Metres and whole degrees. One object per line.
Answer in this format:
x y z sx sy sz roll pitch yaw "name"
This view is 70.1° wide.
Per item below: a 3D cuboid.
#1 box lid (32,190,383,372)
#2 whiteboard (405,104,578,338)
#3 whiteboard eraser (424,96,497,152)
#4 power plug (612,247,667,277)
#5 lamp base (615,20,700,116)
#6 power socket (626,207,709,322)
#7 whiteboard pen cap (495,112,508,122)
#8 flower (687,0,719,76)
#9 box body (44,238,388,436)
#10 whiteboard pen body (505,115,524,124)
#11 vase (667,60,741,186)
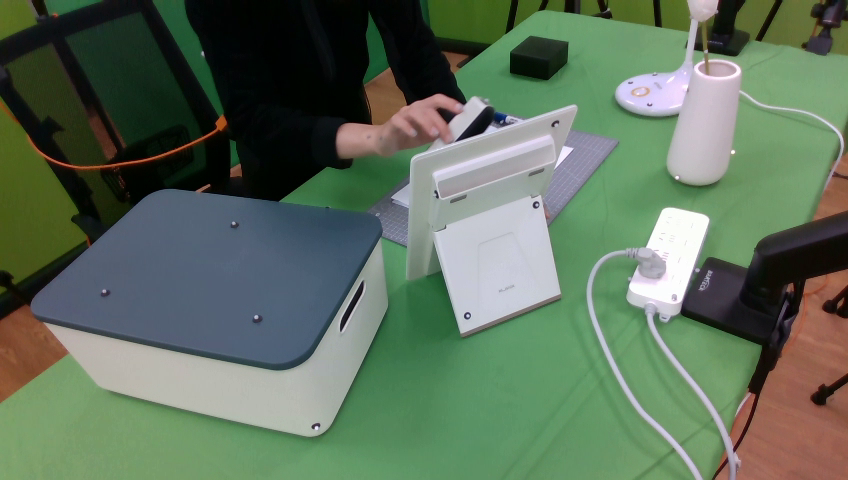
-0.257 0.032 0.750 0.370 0.015 0.263 7 41 16 "box lid"
0.102 0.003 0.787 0.218 0.306 0.143 -19 62 -14 "whiteboard"
0.046 -0.134 0.783 0.042 0.112 0.055 44 19 0 "whiteboard eraser"
0.306 0.031 0.852 0.072 0.053 0.035 21 48 37 "power plug"
0.484 -0.364 1.211 0.180 0.181 0.159 -15 41 -14 "lamp base"
0.360 0.026 0.886 0.072 0.033 0.227 17 46 27 "power socket"
0.161 -0.253 1.248 0.033 0.018 0.018 28 51 36 "whiteboard pen cap"
0.436 -0.242 0.934 0.038 0.364 0.043 -25 49 8 "flower"
-0.251 0.088 0.799 0.362 0.161 0.254 7 42 16 "box body"
0.203 -0.232 1.213 0.139 0.017 0.017 27 51 36 "whiteboard pen body"
0.463 -0.189 0.994 0.098 0.201 0.097 -4 40 4 "vase"
